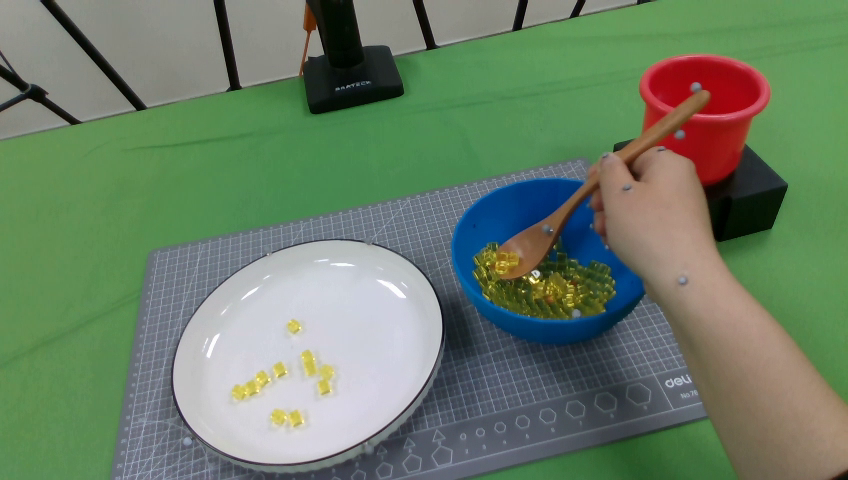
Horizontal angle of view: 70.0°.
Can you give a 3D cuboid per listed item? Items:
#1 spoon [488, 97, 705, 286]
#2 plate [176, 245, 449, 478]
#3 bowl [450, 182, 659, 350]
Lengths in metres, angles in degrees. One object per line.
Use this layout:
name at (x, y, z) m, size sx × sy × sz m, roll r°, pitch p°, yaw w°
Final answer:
spoon at (0.117, -0.030, 0.433) m, size 0.022 × 0.194 × 0.041 m, roll 27°, pitch 32°, yaw -28°
plate at (-0.082, 0.089, 0.473) m, size 0.207 × 0.039 × 0.205 m, roll -5°, pitch 44°, yaw 5°
bowl at (0.098, 0.032, 0.471) m, size 0.151 × 0.077 × 0.150 m, roll -5°, pitch 45°, yaw 5°
